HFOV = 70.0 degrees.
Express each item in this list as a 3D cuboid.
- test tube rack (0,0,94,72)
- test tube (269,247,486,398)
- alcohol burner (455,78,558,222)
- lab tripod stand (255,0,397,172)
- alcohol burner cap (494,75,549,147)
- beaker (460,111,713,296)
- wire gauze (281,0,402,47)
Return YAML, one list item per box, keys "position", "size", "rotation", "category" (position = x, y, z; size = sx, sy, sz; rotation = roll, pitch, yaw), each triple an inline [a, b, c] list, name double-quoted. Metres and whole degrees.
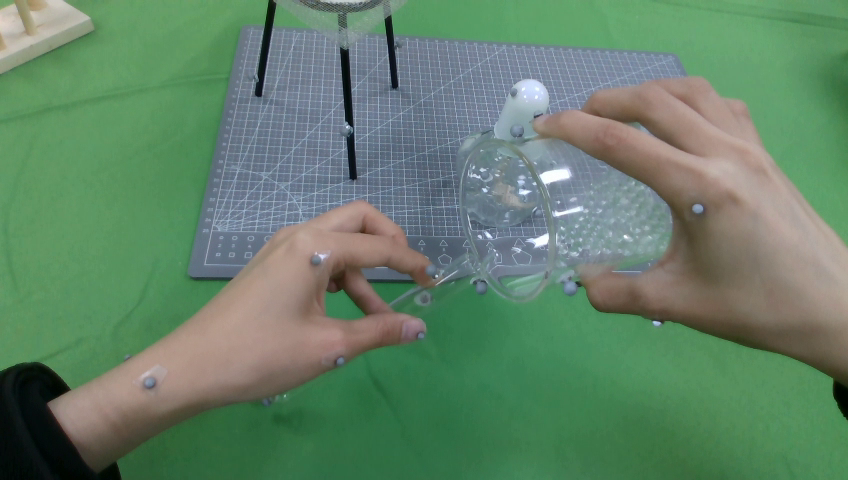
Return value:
- position: [-0.397, -0.167, 0.471]
  size: [0.066, 0.086, 0.242]
  rotation: [33, 55, 16]
  category: "test tube rack"
- position: [-0.030, 0.048, 0.329]
  size: [0.150, 0.017, 0.017]
  rotation: [-35, 53, 20]
  category: "test tube"
- position: [0.064, -0.069, 0.441]
  size: [0.078, 0.120, 0.077]
  rotation: [5, 50, -6]
  category: "alcohol burner"
- position: [-0.068, -0.149, 0.471]
  size: [0.149, 0.132, 0.147]
  rotation: [5, 53, -6]
  category: "lab tripod stand"
- position: [0.068, -0.089, 0.412]
  size: [0.034, 0.048, 0.033]
  rotation: [4, 57, -5]
  category: "alcohol burner cap"
- position: [0.077, -0.019, 0.290]
  size: [0.100, 0.084, 0.073]
  rotation: [-14, 67, -23]
  category: "beaker"
- position: [-0.062, -0.189, 0.417]
  size: [0.124, 0.011, 0.121]
  rotation: [34, 56, 15]
  category: "wire gauze"
